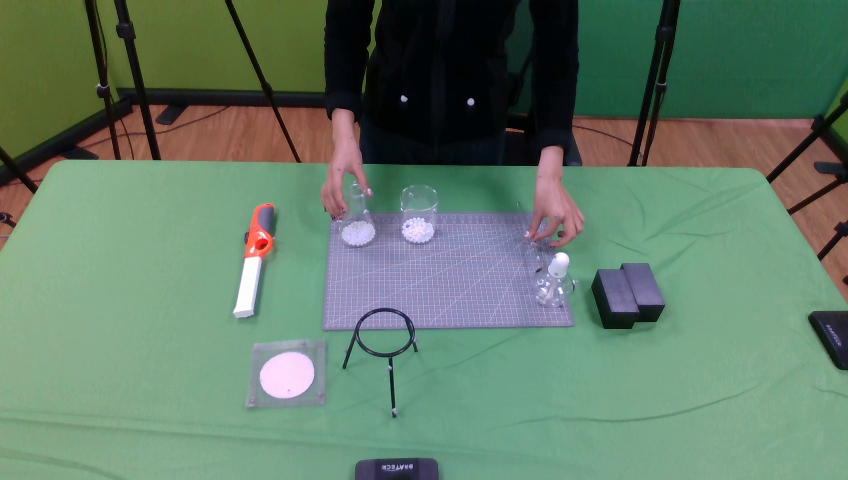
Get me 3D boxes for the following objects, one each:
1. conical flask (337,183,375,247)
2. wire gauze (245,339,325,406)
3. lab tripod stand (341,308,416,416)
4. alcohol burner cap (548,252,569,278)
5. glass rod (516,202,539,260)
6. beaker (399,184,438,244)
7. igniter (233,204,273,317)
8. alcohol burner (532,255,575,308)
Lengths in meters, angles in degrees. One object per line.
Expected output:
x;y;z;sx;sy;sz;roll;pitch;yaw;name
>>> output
-0.131;-0.051;1.165;0.075;0.122;0.075;2;46;-2;conical flask
-0.224;0.215;0.984;0.125;0.011;0.120;-2;46;-5;wire gauze
-0.061;0.177;0.946;0.148;0.132;0.147;2;44;-2;lab tripod stand
0.238;0.042;1.060;0.034;0.048;0.033;1;53;-1;alcohol burner cap
0.209;-0.021;1.230;0.008;0.008;0.198;-1;36;-5;glass rod
-0.014;-0.046;1.186;0.073;0.101;0.084;36;54;27;beaker
-0.321;0.029;1.142;0.057;0.025;0.274;-7;46;4;igniter
0.235;0.066;1.087;0.078;0.119;0.077;4;45;-3;alcohol burner
